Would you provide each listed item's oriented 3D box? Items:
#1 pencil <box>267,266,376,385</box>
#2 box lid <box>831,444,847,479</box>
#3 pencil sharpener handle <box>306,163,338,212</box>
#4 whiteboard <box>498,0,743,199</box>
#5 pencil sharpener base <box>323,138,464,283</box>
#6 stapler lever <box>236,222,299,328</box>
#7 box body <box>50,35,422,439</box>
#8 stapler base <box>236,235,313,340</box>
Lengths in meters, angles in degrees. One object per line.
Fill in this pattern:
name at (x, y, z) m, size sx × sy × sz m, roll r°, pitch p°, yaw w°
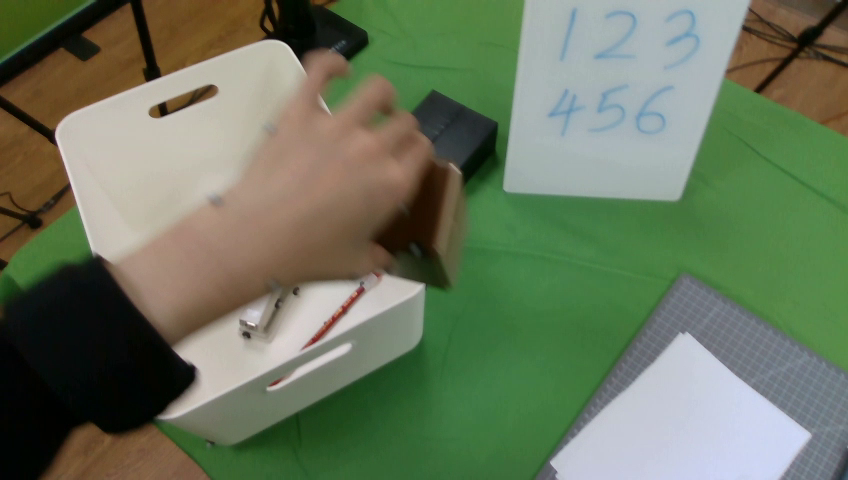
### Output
pencil at (-0.114, 0.096, 0.658) m, size 0.012 × 0.012 × 0.193 m, roll 32°, pitch 66°, yaw 18°
box lid at (0.459, 0.336, 0.519) m, size 0.261 × 0.015 × 0.370 m, roll 35°, pitch 67°, yaw 18°
pencil sharpener handle at (-0.069, -0.031, 0.405) m, size 0.030 × 0.068 × 0.036 m, roll 12°, pitch 77°, yaw 10°
whiteboard at (0.208, -0.216, 0.699) m, size 0.217 × 0.308 × 0.142 m, roll 4°, pitch 41°, yaw 4°
pencil sharpener base at (-0.018, -0.017, 0.409) m, size 0.076 × 0.107 × 0.061 m, roll 12°, pitch 77°, yaw 9°
stapler lever at (-0.169, 0.035, 0.656) m, size 0.027 × 0.040 × 0.117 m, roll 15°, pitch 65°, yaw 12°
box body at (-0.186, -0.008, 0.637) m, size 0.254 × 0.161 × 0.360 m, roll -27°, pitch 64°, yaw -13°
stapler base at (-0.168, 0.045, 0.680) m, size 0.041 × 0.024 × 0.130 m, roll 15°, pitch 64°, yaw 12°
